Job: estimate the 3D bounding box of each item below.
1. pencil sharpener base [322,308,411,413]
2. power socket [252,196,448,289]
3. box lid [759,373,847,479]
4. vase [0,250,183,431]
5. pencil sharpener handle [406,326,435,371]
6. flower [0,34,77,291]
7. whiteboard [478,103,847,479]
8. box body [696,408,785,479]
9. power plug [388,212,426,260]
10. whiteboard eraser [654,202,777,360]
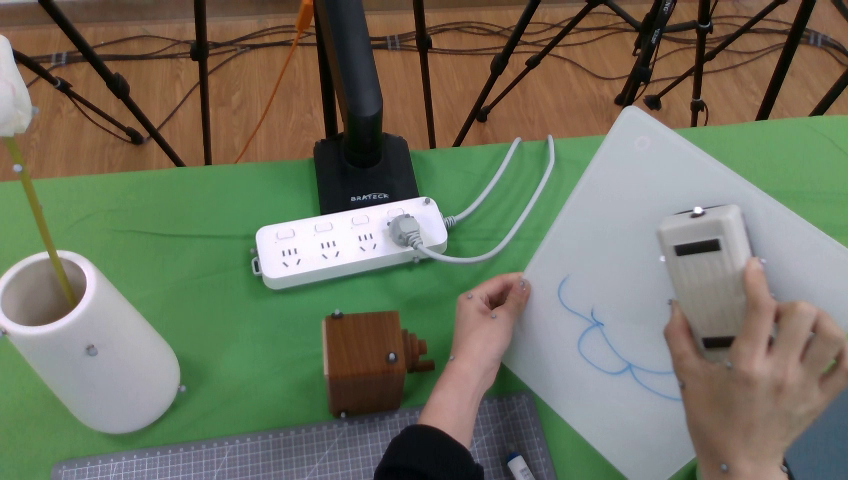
[{"bbox_3d":[-0.054,0.115,0.568,0.077,0.108,0.061,-4,57,-9],"label":"pencil sharpener base"},{"bbox_3d":[-0.080,0.001,0.685,0.227,0.033,0.071,-11,59,-13],"label":"power socket"},{"bbox_3d":[0.415,0.254,0.404,0.264,0.015,0.367,-7,57,-10],"label":"box lid"},{"bbox_3d":[-0.274,0.088,0.507,0.098,0.201,0.097,2,56,-3],"label":"vase"},{"bbox_3d":[-0.002,0.104,0.566,0.031,0.068,0.035,-4,57,-9],"label":"pencil sharpener handle"},{"bbox_3d":[-0.264,0.028,0.449,0.038,0.364,0.043,-16,41,-24],"label":"flower"},{"bbox_3d":[0.225,0.047,0.561,0.215,0.307,0.144,42,43,21],"label":"whiteboard"},{"bbox_3d":[0.409,0.298,0.465,0.255,0.161,0.360,-7,58,-10],"label":"box body"},{"bbox_3d":[-0.020,0.002,0.663,0.035,0.053,0.072,-3,59,-7],"label":"power plug"},{"bbox_3d":[0.211,0.030,0.439,0.042,0.055,0.113,-31,103,-50],"label":"whiteboard eraser"}]
